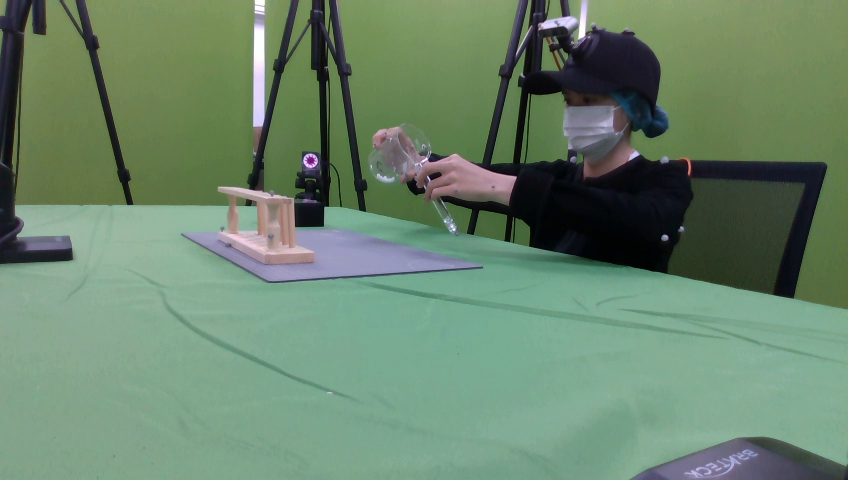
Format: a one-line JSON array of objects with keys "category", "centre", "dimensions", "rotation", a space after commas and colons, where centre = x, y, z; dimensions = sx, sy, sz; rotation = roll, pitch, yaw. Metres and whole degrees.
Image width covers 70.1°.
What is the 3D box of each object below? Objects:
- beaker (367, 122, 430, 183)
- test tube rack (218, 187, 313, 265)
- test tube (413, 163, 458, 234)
[{"category": "beaker", "centre": [-0.048, -0.148, 1.070], "dimensions": [0.074, 0.084, 0.100], "rotation": [4, -23, -40]}, {"category": "test tube rack", "centre": [-0.235, -0.027, 0.872], "dimensions": [0.067, 0.085, 0.241], "rotation": [-2, 8, -32]}, {"category": "test tube", "centre": [0.017, -0.070, 0.994], "dimensions": [0.017, 0.017, 0.149], "rotation": [-3, 53, -39]}]
